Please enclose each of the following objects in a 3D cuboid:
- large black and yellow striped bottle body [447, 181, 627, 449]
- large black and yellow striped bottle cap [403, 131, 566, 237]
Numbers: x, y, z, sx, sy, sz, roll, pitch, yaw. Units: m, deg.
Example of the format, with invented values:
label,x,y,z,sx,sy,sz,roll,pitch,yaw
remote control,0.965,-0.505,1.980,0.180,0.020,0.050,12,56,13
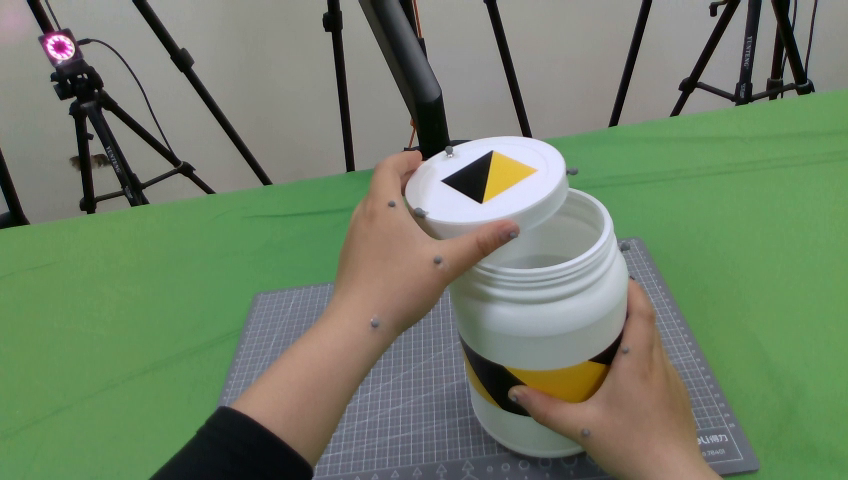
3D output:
label,x,y,z,sx,sy,sz,roll,pitch,yaw
large black and yellow striped bottle body,0.089,0.057,0.471,0.130,0.186,0.129,-8,36,6
large black and yellow striped bottle cap,0.042,-0.044,0.428,0.115,0.019,0.114,-9,36,7
